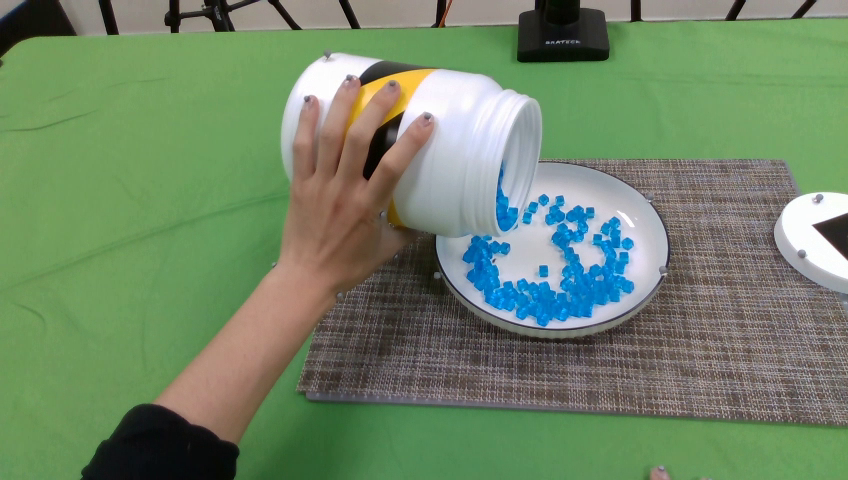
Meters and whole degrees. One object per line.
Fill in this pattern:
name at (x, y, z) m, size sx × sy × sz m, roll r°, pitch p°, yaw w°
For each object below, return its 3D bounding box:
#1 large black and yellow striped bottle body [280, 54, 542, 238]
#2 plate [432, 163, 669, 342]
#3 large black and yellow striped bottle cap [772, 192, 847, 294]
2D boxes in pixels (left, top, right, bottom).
large black and yellow striped bottle body at (-0.008, -0.076, 0.499) m, size 0.183 × 0.132 × 0.130 m, roll 15°, pitch 51°, yaw 22°
plate at (0.112, 0.009, 0.554) m, size 0.207 × 0.039 × 0.205 m, roll -3°, pitch 47°, yaw 4°
large black and yellow striped bottle cap at (0.378, 0.001, 0.546) m, size 0.115 × 0.019 × 0.114 m, roll -1°, pitch 48°, yaw 1°
